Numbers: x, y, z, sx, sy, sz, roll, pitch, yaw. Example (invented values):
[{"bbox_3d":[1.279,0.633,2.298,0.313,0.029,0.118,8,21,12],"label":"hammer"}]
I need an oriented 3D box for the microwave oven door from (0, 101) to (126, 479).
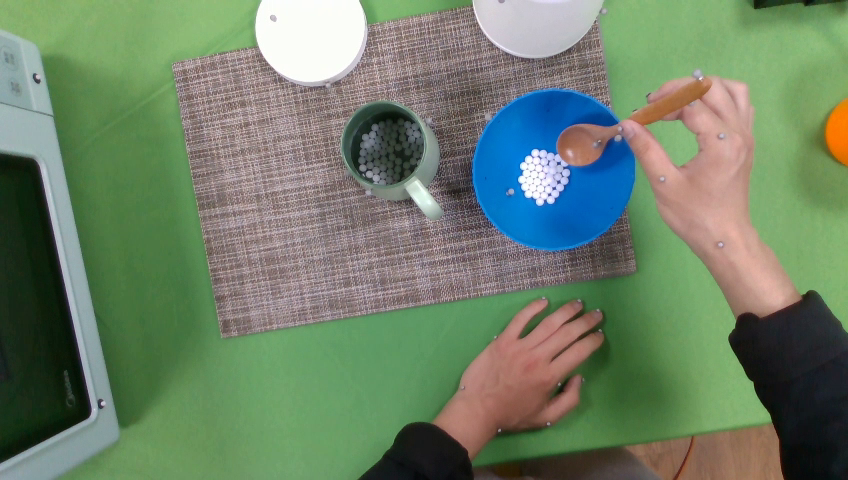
[{"bbox_3d":[-0.382,0.046,0.534,0.039,0.244,0.356,-12,92,4],"label":"microwave oven door"}]

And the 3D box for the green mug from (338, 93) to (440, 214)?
[{"bbox_3d":[-0.025,-0.079,0.589,0.092,0.105,0.125,-37,90,4],"label":"green mug"}]

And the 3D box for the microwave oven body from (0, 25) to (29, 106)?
[{"bbox_3d":[-0.533,0.033,0.547,0.326,0.260,0.442,-11,93,3],"label":"microwave oven body"}]

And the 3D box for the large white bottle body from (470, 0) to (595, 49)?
[{"bbox_3d":[0.102,-0.260,0.531,0.130,0.185,0.130,0,89,4],"label":"large white bottle body"}]

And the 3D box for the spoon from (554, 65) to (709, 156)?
[{"bbox_3d":[0.161,-0.102,0.497,0.021,0.193,0.042,-39,97,-13],"label":"spoon"}]

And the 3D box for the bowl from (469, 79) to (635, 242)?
[{"bbox_3d":[0.119,-0.074,0.594,0.151,0.077,0.151,0,93,4],"label":"bowl"}]

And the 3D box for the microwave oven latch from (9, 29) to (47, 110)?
[{"bbox_3d":[-0.417,-0.173,0.625,0.030,0.029,0.079,-11,93,3],"label":"microwave oven latch"}]

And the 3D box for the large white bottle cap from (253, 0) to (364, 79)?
[{"bbox_3d":[-0.120,-0.226,0.629,0.115,0.018,0.115,0,92,3],"label":"large white bottle cap"}]
